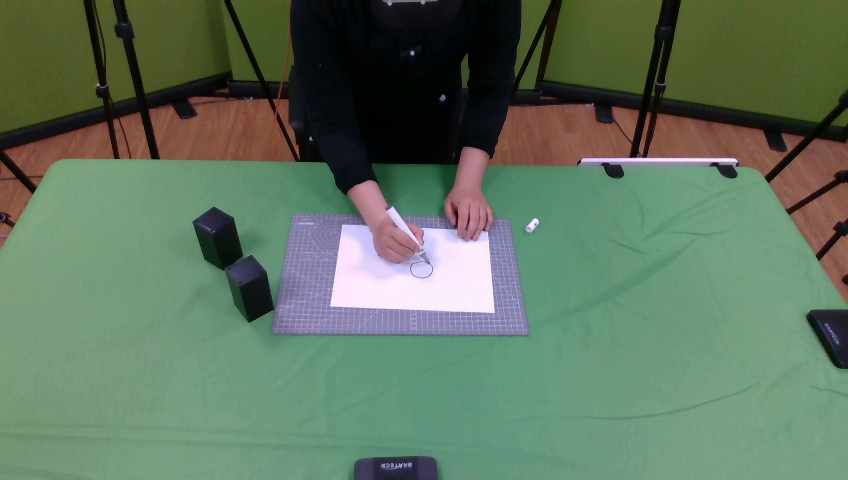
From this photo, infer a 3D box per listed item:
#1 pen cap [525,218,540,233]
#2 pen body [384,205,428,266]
[{"bbox_3d":[0.224,-0.031,1.248,0.017,0.017,0.038,30,51,23],"label":"pen cap"},{"bbox_3d":[-0.031,-0.006,1.135,0.017,0.145,0.017,-30,21,13],"label":"pen body"}]
